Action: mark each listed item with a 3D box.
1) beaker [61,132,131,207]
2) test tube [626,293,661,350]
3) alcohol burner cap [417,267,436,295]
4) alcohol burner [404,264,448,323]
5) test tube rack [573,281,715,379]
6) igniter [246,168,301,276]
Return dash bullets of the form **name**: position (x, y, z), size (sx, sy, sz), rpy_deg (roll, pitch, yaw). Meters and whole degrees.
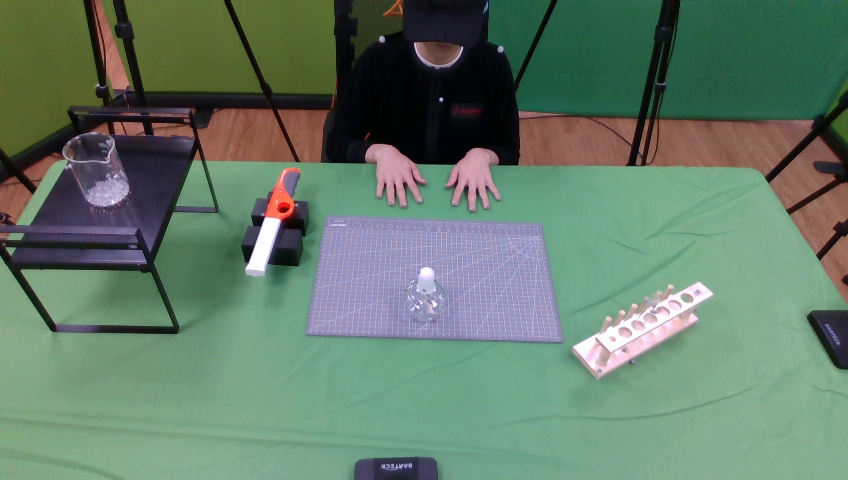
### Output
- **beaker**: position (-0.512, -0.107, 0.959), size (0.083, 0.101, 0.074), rpy_deg (29, 51, 22)
- **test tube**: position (0.350, 0.134, 0.973), size (0.017, 0.151, 0.017), rpy_deg (1, 49, -1)
- **alcohol burner cap**: position (0.004, 0.066, 1.019), size (0.034, 0.048, 0.033), rpy_deg (0, 47, 1)
- **alcohol burner**: position (0.003, 0.087, 1.042), size (0.078, 0.120, 0.077), rpy_deg (1, 45, 0)
- **test tube rack**: position (0.378, 0.140, 1.038), size (0.242, 0.085, 0.066), rpy_deg (-22, 51, -23)
- **igniter**: position (-0.282, -0.043, 1.149), size (0.057, 0.025, 0.275), rpy_deg (8, 48, -1)
